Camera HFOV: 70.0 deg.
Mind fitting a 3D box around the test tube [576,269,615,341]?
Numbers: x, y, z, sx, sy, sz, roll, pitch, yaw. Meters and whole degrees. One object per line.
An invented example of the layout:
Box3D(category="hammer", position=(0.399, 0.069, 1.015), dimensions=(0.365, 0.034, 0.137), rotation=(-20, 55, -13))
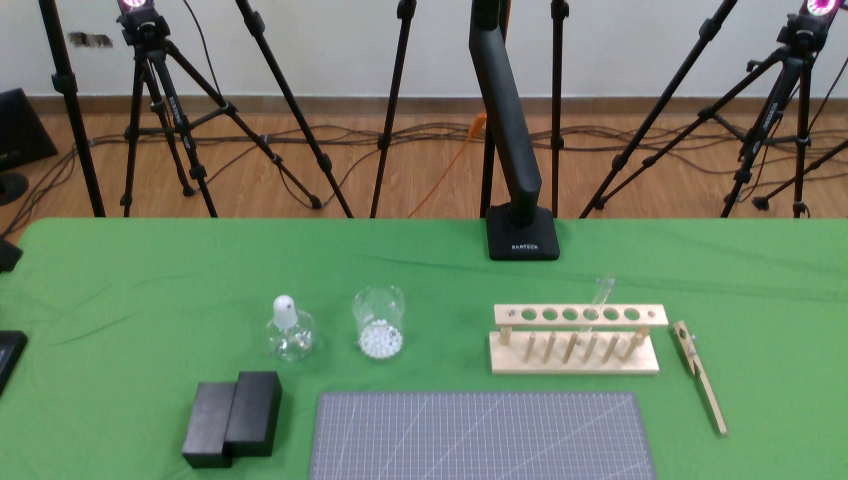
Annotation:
Box3D(category="test tube", position=(0.239, 0.095, 0.855), dimensions=(0.017, 0.151, 0.017), rotation=(4, 45, -3))

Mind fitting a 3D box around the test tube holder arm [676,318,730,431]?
Box3D(category="test tube holder arm", position=(0.404, 0.191, 0.882), dimensions=(0.013, 0.015, 0.176), rotation=(-29, 46, 21))

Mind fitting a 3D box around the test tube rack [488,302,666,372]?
Box3D(category="test tube rack", position=(0.220, 0.141, 0.880), dimensions=(0.242, 0.086, 0.066), rotation=(0, 49, -1))

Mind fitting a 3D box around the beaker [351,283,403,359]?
Box3D(category="beaker", position=(-0.064, 0.120, 0.885), dimensions=(0.073, 0.101, 0.084), rotation=(32, 55, 24))

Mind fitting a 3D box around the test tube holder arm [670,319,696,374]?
Box3D(category="test tube holder arm", position=(0.393, 0.160, 0.913), dimensions=(0.010, 0.015, 0.087), rotation=(-29, 46, 22))

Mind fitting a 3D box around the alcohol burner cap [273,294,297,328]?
Box3D(category="alcohol burner cap", position=(-0.196, 0.095, 0.846), dimensions=(0.034, 0.048, 0.033), rotation=(4, 43, -4))

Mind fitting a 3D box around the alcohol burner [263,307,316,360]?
Box3D(category="alcohol burner", position=(-0.197, 0.121, 0.872), dimensions=(0.078, 0.120, 0.077), rotation=(-1, 47, 1))
